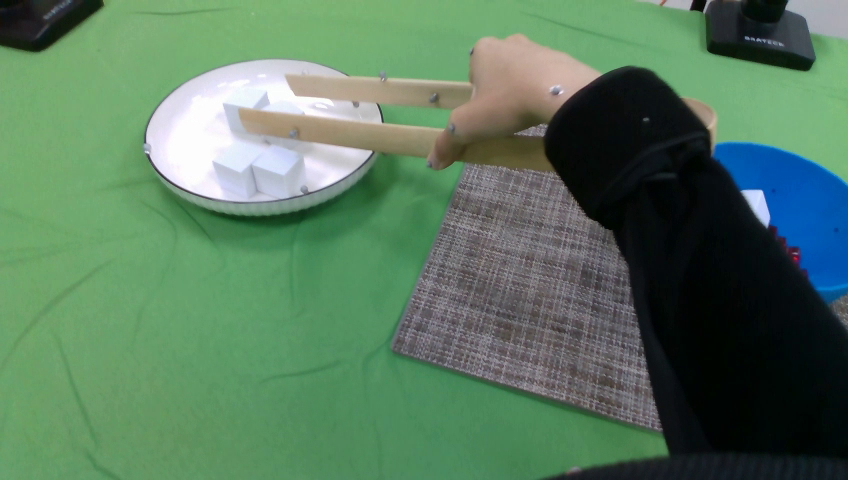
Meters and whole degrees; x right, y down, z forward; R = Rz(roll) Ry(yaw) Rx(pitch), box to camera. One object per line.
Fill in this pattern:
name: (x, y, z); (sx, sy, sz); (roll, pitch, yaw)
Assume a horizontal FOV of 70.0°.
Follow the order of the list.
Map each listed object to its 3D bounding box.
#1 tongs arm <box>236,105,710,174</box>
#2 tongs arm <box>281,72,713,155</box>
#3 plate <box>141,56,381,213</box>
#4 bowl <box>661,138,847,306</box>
tongs arm: (0.001, -0.081, 0.451); (0.385, 0.028, 0.028); (10, 42, 30)
tongs arm: (0.021, -0.106, 0.473); (0.382, 0.027, 0.050); (11, 45, 30)
plate: (-0.144, -0.097, 0.557); (0.209, 0.038, 0.207); (2, 49, -2)
bowl: (0.249, -0.001, 0.466); (0.151, 0.077, 0.150); (2, 49, -2)
